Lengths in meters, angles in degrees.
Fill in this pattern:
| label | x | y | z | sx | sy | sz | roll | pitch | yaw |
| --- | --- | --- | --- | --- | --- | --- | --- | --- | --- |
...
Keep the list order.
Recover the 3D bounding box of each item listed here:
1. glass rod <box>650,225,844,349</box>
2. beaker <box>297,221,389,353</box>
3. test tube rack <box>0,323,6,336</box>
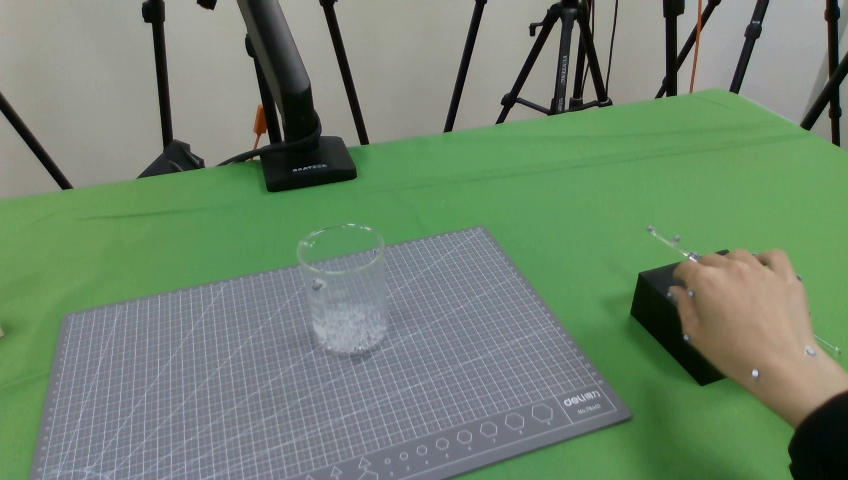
| label | x | y | z | sx | sy | sz | roll | pitch | yaw |
| --- | --- | --- | --- | --- | --- | --- | --- | --- | --- |
| glass rod | 0.277 | 0.034 | 0.540 | 0.008 | 0.008 | 0.197 | -19 | 38 | -23 |
| beaker | -0.071 | 0.044 | 0.541 | 0.083 | 0.101 | 0.074 | 18 | 40 | 27 |
| test tube rack | -0.496 | 0.099 | 0.489 | 0.066 | 0.086 | 0.242 | 23 | 42 | 29 |
